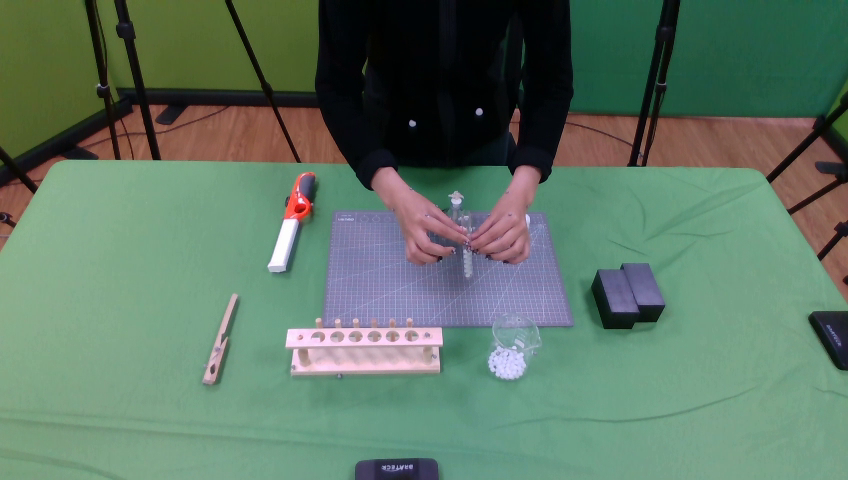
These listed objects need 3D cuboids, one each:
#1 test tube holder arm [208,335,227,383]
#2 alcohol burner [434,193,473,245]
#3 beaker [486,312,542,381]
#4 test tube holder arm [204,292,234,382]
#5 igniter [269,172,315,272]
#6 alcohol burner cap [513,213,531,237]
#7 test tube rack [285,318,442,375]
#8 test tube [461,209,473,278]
[{"bbox_3d":[-0.338,0.193,0.991,0.010,0.015,0.087,29,38,-27],"label":"test tube holder arm"},{"bbox_3d":[0.059,-0.046,1.179,0.078,0.120,0.077,1,48,-1],"label":"alcohol burner"},{"bbox_3d":[0.144,0.177,0.985,0.084,0.101,0.074,22,49,16],"label":"beaker"},{"bbox_3d":[-0.344,0.158,1.020,0.013,0.015,0.177,28,39,-29],"label":"test tube holder arm"},{"bbox_3d":[-0.263,-0.045,1.219,0.057,0.025,0.275,-2,45,8],"label":"igniter"},{"bbox_3d":[0.200,-0.034,1.227,0.034,0.048,0.033,1,45,-1],"label":"alcohol burner cap"},{"bbox_3d":[-0.095,0.168,0.986,0.242,0.085,0.066,0,46,-4],"label":"test tube rack"},{"bbox_3d":[0.070,0.009,0.991,0.017,0.151,0.017,-3,45,3],"label":"test tube"}]
